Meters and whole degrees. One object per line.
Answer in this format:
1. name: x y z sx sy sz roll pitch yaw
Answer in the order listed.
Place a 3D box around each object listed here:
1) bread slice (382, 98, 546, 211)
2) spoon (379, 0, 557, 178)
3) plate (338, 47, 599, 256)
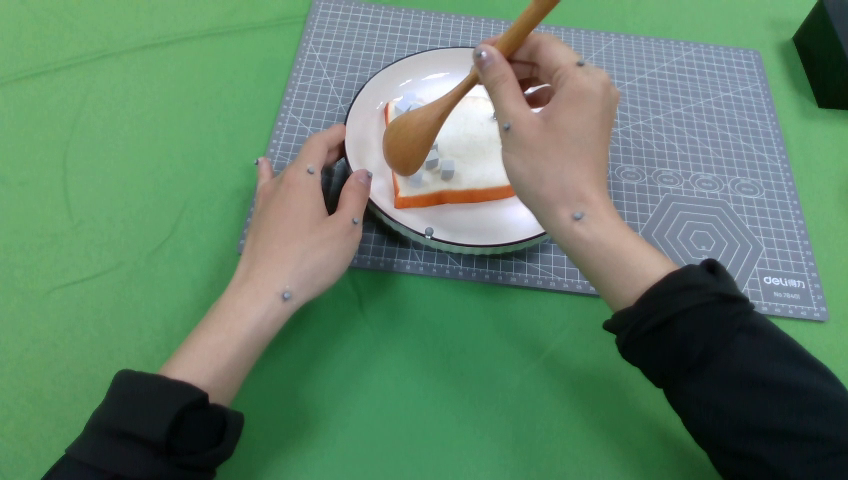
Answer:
1. bread slice: 0.033 -0.076 0.500 0.132 0.019 0.104 -7 60 -7
2. spoon: 0.027 -0.105 0.396 0.022 0.194 0.041 -17 70 -53
3. plate: 0.035 -0.073 0.495 0.209 0.038 0.207 2 59 -3
